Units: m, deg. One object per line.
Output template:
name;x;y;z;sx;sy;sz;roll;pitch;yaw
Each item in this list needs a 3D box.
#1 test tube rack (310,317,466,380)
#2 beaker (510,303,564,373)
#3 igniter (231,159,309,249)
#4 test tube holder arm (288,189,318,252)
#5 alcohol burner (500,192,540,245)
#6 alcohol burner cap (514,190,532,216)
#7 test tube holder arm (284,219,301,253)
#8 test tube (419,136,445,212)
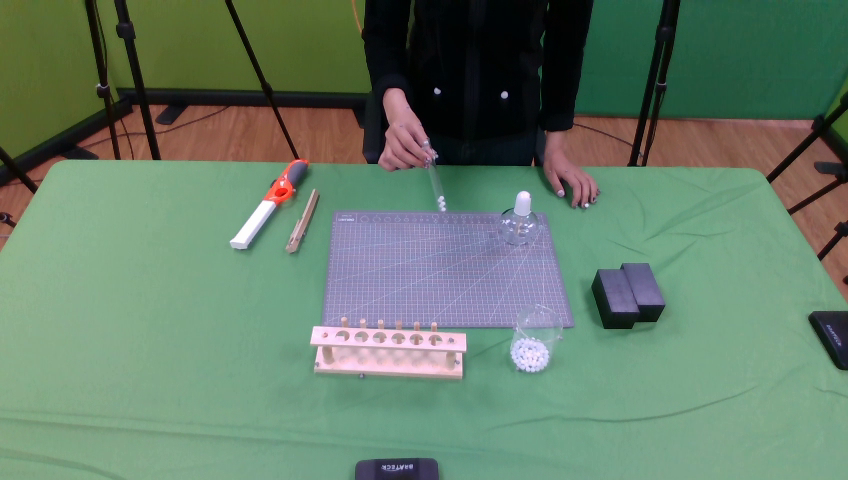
test tube rack;-0.056;0.171;0.986;0.242;0.085;0.066;3;45;-1
beaker;0.182;0.164;1.000;0.074;0.101;0.083;2;46;-1
igniter;-0.313;-0.082;1.251;0.057;0.025;0.275;8;45;18
test tube holder arm;-0.242;-0.043;1.223;0.013;0.015;0.177;-14;39;25
alcohol burner;0.190;-0.048;1.190;0.078;0.120;0.077;1;47;-1
alcohol burner cap;0.192;-0.074;1.166;0.034;0.048;0.033;1;41;-1
test tube holder arm;-0.254;-0.010;1.194;0.010;0.015;0.087;-14;39;26
test tube;0.016;-0.115;1.076;0.017;0.151;0.017;-11;32;7
